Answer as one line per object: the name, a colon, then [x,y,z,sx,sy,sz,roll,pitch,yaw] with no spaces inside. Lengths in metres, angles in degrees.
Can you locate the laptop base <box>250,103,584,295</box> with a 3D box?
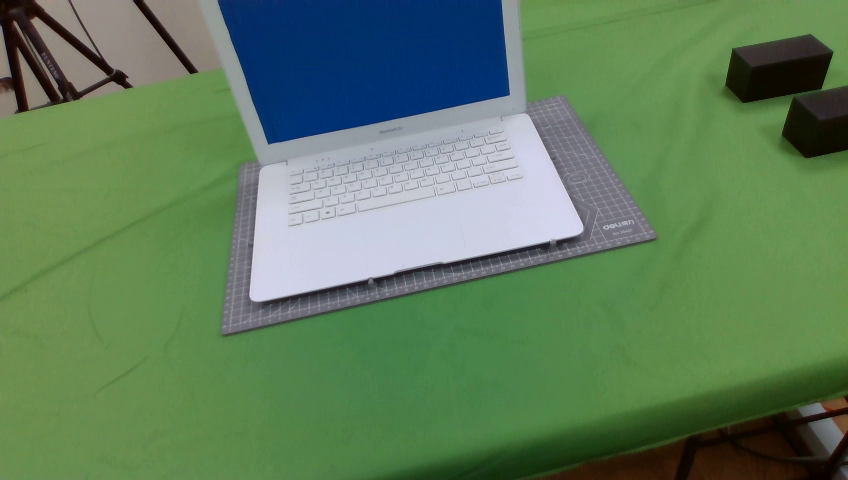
laptop base: [-0.021,-0.056,0.701,0.354,0.023,0.233,-12,47,0]

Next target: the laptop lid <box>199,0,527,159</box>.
laptop lid: [-0.059,-0.230,0.714,0.357,0.244,0.013,-13,36,1]
